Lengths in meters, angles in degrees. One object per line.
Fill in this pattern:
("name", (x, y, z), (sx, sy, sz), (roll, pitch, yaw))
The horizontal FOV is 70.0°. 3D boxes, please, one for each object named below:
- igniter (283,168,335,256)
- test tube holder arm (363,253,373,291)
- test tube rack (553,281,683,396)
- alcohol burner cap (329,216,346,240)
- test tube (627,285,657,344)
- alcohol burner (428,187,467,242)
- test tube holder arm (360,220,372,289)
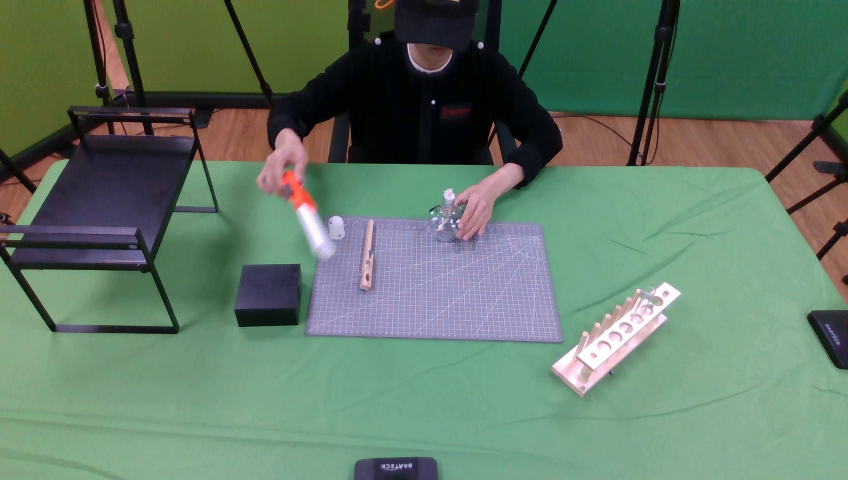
("igniter", (-0.199, -0.056, 1.021), (0.025, 0.057, 0.274), (-45, 38, 8))
("test tube holder arm", (-0.104, 0.058, 1.132), (0.010, 0.015, 0.087), (28, 38, -26))
("test tube rack", (0.329, 0.153, 1.023), (0.242, 0.085, 0.066), (-30, 54, -28))
("alcohol burner cap", (-0.171, -0.026, 1.190), (0.034, 0.048, 0.033), (1, 47, -1))
("test tube", (0.350, 0.124, 0.983), (0.017, 0.151, 0.017), (0, 49, 0))
("alcohol burner", (0.048, -0.055, 1.183), (0.078, 0.119, 0.077), (3, 44, -3))
("test tube holder arm", (-0.109, 0.024, 1.161), (0.013, 0.015, 0.177), (27, 38, -27))
